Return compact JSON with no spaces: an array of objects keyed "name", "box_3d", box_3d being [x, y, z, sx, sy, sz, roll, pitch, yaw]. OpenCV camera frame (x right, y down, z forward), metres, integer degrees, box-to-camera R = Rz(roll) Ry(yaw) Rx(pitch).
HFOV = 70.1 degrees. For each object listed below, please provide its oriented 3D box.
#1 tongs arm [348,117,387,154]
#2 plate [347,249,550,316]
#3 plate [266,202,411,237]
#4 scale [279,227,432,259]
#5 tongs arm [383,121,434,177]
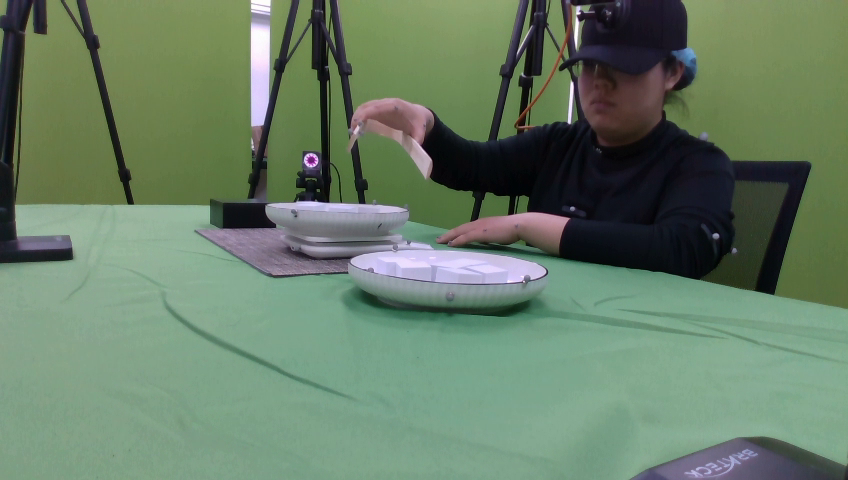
[{"name":"tongs arm","box_3d":[-0.078,-0.156,0.888,0.051,0.026,0.384,14,13,-8]},{"name":"plate","box_3d":[0.025,0.042,0.627,0.209,0.038,0.209,2,7,0]},{"name":"plate","box_3d":[-0.123,-0.030,0.879,0.208,0.039,0.207,2,6,0]},{"name":"scale","box_3d":[-0.100,0.001,0.899,0.202,0.031,0.148,-1,9,-31]},{"name":"tongs arm","box_3d":[-0.026,-0.141,0.897,0.028,0.028,0.386,10,15,-13]}]
